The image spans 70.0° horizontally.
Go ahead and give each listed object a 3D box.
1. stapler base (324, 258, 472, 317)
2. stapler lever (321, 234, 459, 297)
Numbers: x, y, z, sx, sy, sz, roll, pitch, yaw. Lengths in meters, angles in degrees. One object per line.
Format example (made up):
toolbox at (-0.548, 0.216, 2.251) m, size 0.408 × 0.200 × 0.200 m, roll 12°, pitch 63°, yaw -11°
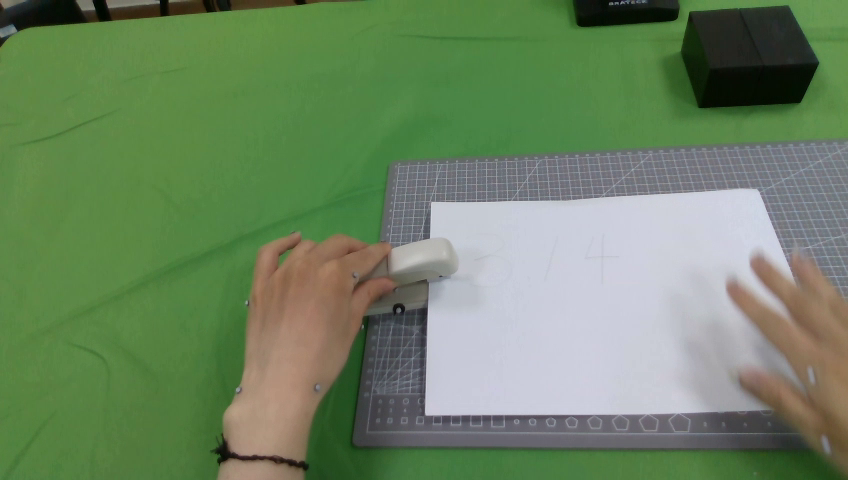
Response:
stapler base at (-0.025, 0.035, 0.520) m, size 0.130 × 0.025 × 0.041 m, roll -9°, pitch 50°, yaw 4°
stapler lever at (-0.030, 0.021, 0.501) m, size 0.118 × 0.040 × 0.026 m, roll -8°, pitch 50°, yaw 3°
